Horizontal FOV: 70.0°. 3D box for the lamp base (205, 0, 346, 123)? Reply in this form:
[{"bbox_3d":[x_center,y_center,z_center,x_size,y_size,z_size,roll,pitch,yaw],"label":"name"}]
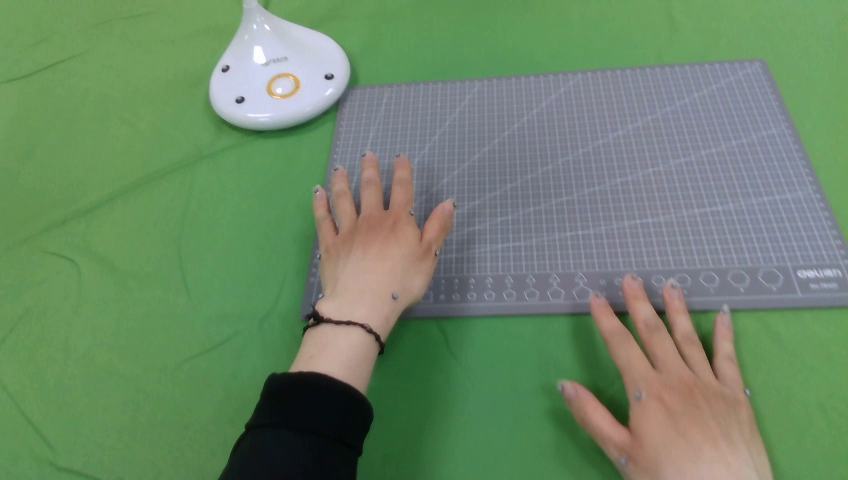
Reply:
[{"bbox_3d":[-0.183,-0.243,0.630,0.161,0.182,0.177,-27,52,-11],"label":"lamp base"}]
